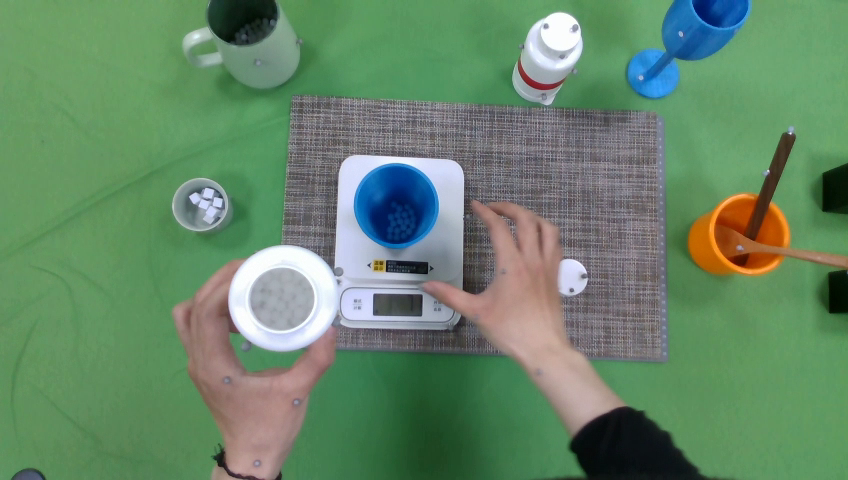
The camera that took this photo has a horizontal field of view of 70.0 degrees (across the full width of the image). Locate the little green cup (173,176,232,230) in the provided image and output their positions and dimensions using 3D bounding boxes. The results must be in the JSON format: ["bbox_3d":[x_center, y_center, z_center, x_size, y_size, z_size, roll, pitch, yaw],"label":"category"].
[{"bbox_3d":[-0.251,-0.040,0.697,0.061,0.039,0.061,1,82,-4],"label":"little green cup"}]

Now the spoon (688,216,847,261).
[{"bbox_3d":[0.387,0.005,0.662,0.022,0.192,0.041,16,89,-43],"label":"spoon"}]

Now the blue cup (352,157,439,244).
[{"bbox_3d":[-0.030,-0.034,0.639,0.093,0.100,0.092,0,84,-3],"label":"blue cup"}]

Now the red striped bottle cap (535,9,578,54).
[{"bbox_3d":[0.141,-0.222,0.642,0.044,0.018,0.044,0,80,-2],"label":"red striped bottle cap"}]

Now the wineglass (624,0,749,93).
[{"bbox_3d":[0.285,-0.227,0.676,0.074,0.172,0.073,0,82,-1],"label":"wineglass"}]

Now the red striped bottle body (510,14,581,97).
[{"bbox_3d":[0.139,-0.215,0.695,0.063,0.120,0.063,0,82,-2],"label":"red striped bottle body"}]

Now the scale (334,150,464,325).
[{"bbox_3d":[-0.029,-0.003,0.701,0.149,0.031,0.200,1,83,-2],"label":"scale"}]

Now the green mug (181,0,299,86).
[{"bbox_3d":[-0.211,-0.230,0.691,0.125,0.105,0.092,-20,84,-4],"label":"green mug"}]

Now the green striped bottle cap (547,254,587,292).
[{"bbox_3d":[0.168,0.038,0.713,0.044,0.020,0.044,0,79,0],"label":"green striped bottle cap"}]

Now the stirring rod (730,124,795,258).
[{"bbox_3d":[0.370,-0.047,0.668,0.014,0.178,0.006,9,41,13],"label":"stirring rod"}]

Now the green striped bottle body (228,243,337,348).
[{"bbox_3d":[-0.088,0.034,0.387,0.063,0.119,0.063,0,87,-9],"label":"green striped bottle body"}]
